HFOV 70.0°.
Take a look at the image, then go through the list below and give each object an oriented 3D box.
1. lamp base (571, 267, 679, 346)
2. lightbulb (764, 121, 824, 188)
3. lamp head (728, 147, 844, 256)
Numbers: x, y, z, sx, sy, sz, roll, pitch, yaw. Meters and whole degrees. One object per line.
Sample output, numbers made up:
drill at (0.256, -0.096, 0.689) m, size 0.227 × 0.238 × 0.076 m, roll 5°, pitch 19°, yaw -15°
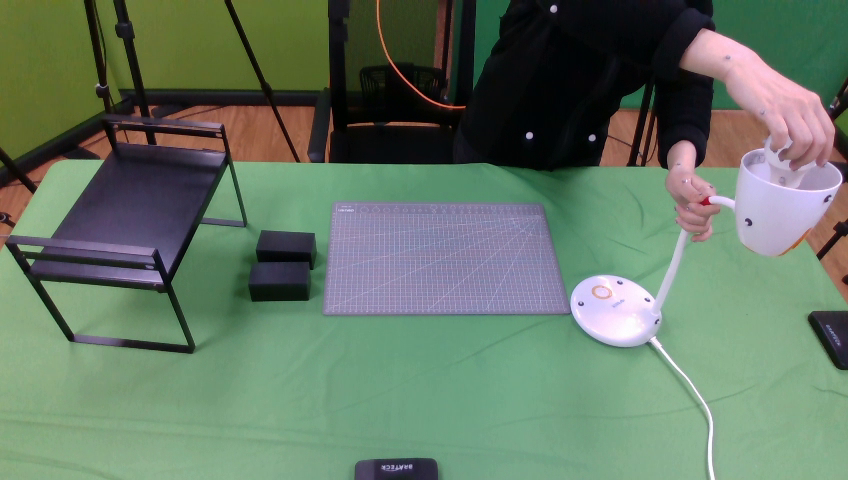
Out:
lamp base at (0.360, 0.077, 1.037) m, size 0.160 × 0.181 × 0.178 m, roll -34°, pitch 59°, yaw -31°
lightbulb at (0.434, -0.089, 0.721) m, size 0.059 × 0.108 × 0.059 m, roll -7°, pitch 38°, yaw 6°
lamp head at (0.439, -0.044, 0.760) m, size 0.112 × 0.123 × 0.111 m, roll 1°, pitch 39°, yaw -1°
